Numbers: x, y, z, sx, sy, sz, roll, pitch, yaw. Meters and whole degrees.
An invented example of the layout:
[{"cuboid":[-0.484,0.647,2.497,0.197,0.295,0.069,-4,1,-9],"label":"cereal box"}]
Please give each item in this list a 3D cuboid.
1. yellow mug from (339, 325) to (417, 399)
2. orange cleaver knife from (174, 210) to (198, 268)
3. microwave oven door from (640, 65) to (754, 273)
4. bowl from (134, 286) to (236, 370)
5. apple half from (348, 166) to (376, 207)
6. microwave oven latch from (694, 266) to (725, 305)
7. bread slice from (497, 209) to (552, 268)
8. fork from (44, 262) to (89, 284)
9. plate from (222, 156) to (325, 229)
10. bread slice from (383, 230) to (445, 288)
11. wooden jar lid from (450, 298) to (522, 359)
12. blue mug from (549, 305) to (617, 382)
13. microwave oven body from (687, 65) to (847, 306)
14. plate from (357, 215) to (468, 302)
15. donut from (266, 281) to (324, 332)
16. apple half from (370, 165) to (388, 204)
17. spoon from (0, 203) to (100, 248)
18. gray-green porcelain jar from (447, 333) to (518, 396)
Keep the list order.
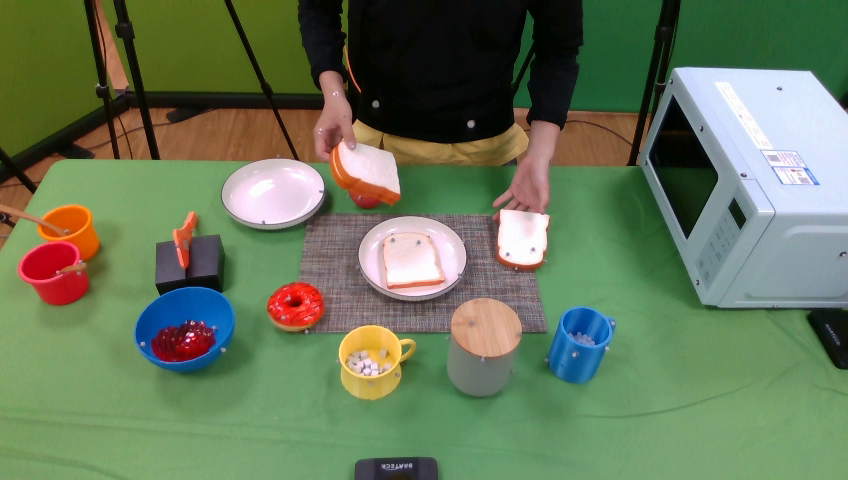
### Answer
[{"cuboid":[-0.072,0.190,0.978,0.131,0.064,0.099,-17,50,-20],"label":"yellow mug"},{"cuboid":[-0.436,-0.006,1.127,0.012,0.077,0.210,-13,19,-8],"label":"orange cleaver knife"},{"cuboid":[0.523,-0.147,1.193,0.039,0.245,0.353,0,47,-3],"label":"microwave oven door"},{"cuboid":[-0.377,0.155,0.981,0.151,0.077,0.150,2,46,-2],"label":"bowl"},{"cuboid":[-0.130,-0.109,1.254,0.053,0.075,0.080,-10,50,-7],"label":"apple half"},{"cuboid":[0.523,0.082,1.115,0.030,0.029,0.078,3,46,0],"label":"microwave oven latch"},{"cuboid":[0.198,-0.004,1.194,0.105,0.019,0.131,7,56,6],"label":"bread slice"},{"cuboid":[-0.598,0.054,1.014,0.207,0.019,0.028,-15,29,45],"label":"fork"},{"cuboid":[-0.308,-0.095,1.251,0.209,0.038,0.208,2,47,-2],"label":"plate"},{"cuboid":[-0.028,0.035,1.145,0.107,0.018,0.133,-7,48,-11],"label":"bread slice"},{"cuboid":[0.093,0.135,0.914,0.108,0.021,0.107,2,48,-3],"label":"wooden jar lid"},{"cuboid":[0.269,0.166,0.998,0.116,0.106,0.082,-19,51,-21],"label":"blue mug"},{"cuboid":[0.669,-0.111,1.176,0.326,0.261,0.439,0,46,-3],"label":"microwave oven body"},{"cuboid":[-0.022,0.037,1.141,0.208,0.039,0.206,2,46,-2],"label":"plate"},{"cuboid":[-0.222,0.115,1.049,0.099,0.048,0.098,2,46,-2],"label":"donut"},{"cuboid":[-0.091,-0.115,1.260,0.033,0.082,0.080,-9,48,-6],"label":"apple half"},{"cuboid":[-0.683,-0.031,1.088,0.195,0.021,0.041,33,33,-38],"label":"spoon"},{"cuboid":[0.091,0.178,0.960,0.106,0.127,0.105,2,46,-2],"label":"gray-green porcelain jar"}]
